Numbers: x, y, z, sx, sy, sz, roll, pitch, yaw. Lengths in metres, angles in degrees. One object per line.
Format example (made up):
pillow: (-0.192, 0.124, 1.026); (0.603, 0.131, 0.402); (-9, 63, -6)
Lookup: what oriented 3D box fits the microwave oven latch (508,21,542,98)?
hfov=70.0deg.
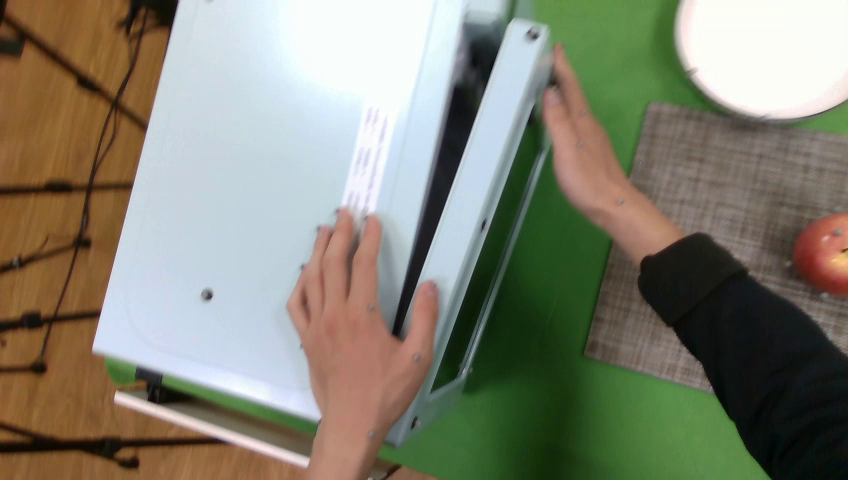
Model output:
microwave oven latch: (0.115, -0.205, 0.692); (0.030, 0.029, 0.079); (14, 89, 14)

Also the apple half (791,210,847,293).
apple half: (0.395, 0.013, 0.601); (0.053, 0.075, 0.080); (-6, 87, 19)

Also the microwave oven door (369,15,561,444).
microwave oven door: (0.052, 0.002, 0.585); (0.039, 0.245, 0.355); (20, 90, 15)

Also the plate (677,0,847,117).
plate: (0.380, -0.230, 0.648); (0.207, 0.039, 0.207); (-1, 85, 13)

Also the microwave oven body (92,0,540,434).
microwave oven body: (-0.091, -0.076, 0.631); (0.325, 0.261, 0.441); (14, 89, 14)
